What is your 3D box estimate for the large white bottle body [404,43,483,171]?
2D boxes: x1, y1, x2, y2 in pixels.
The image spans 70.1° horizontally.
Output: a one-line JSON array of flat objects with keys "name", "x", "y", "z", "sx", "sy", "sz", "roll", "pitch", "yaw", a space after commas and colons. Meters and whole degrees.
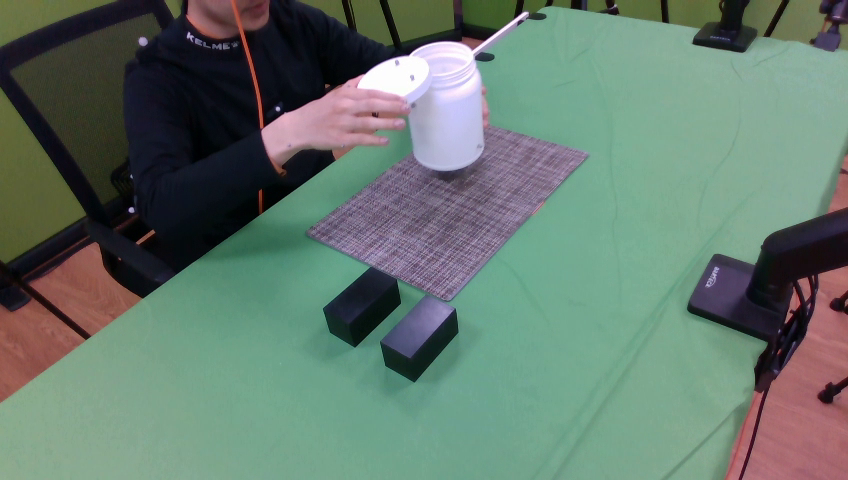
[{"name": "large white bottle body", "x": 0.032, "y": -0.227, "z": 1.033, "sx": 0.130, "sy": 0.185, "sz": 0.130, "roll": -5, "pitch": 45, "yaw": 5}]

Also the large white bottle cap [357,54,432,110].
[{"name": "large white bottle cap", "x": -0.045, "y": -0.237, "z": 0.900, "sx": 0.114, "sy": 0.018, "sz": 0.114, "roll": -12, "pitch": 46, "yaw": 13}]
